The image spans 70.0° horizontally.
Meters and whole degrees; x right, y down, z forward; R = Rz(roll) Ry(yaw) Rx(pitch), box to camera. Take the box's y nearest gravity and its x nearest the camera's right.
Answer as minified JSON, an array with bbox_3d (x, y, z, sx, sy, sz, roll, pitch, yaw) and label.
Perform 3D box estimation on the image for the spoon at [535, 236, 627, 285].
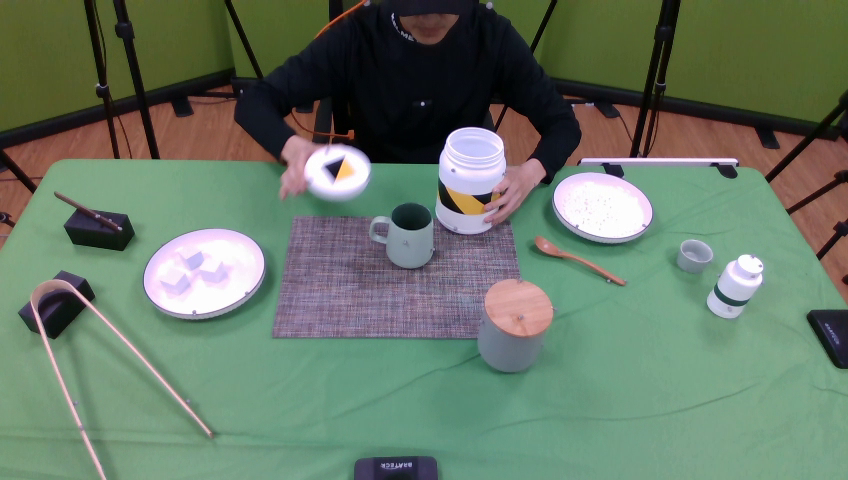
[{"bbox_3d":[0.304,0.040,1.178,0.193,0.022,0.041,25,34,19],"label":"spoon"}]

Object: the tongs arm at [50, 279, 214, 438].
[{"bbox_3d":[-0.459,0.178,0.949,0.386,0.028,0.028,38,60,17],"label":"tongs arm"}]

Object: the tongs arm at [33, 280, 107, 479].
[{"bbox_3d":[-0.517,0.214,0.909,0.051,0.026,0.383,-29,63,-27],"label":"tongs arm"}]

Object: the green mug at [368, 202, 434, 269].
[{"bbox_3d":[-0.043,-0.010,1.140,0.125,0.105,0.092,7,46,3],"label":"green mug"}]

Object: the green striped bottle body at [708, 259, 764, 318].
[{"bbox_3d":[0.563,0.081,1.089,0.063,0.120,0.063,2,46,-2],"label":"green striped bottle body"}]

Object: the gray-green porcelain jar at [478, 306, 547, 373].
[{"bbox_3d":[0.144,0.148,0.989,0.106,0.127,0.105,2,50,-2],"label":"gray-green porcelain jar"}]

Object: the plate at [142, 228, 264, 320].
[{"bbox_3d":[-0.394,0.064,1.095,0.208,0.039,0.206,2,46,-2],"label":"plate"}]

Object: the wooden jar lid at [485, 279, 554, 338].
[{"bbox_3d":[0.147,0.108,0.940,0.108,0.021,0.107,4,47,-4],"label":"wooden jar lid"}]

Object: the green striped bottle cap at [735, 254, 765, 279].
[{"bbox_3d":[0.566,0.046,1.051,0.044,0.020,0.044,1,45,0],"label":"green striped bottle cap"}]

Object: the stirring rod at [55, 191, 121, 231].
[{"bbox_3d":[-0.632,-0.055,1.138,0.175,0.014,0.006,24,50,19],"label":"stirring rod"}]

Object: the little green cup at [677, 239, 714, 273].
[{"bbox_3d":[0.530,0.033,1.189,0.061,0.039,0.061,2,47,-2],"label":"little green cup"}]

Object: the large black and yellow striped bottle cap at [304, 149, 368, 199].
[{"bbox_3d":[-0.158,-0.120,1.089,0.115,0.019,0.114,6,50,-7],"label":"large black and yellow striped bottle cap"}]

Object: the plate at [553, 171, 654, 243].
[{"bbox_3d":[0.373,-0.066,1.274,0.209,0.038,0.208,2,46,-2],"label":"plate"}]

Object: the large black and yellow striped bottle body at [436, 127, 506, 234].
[{"bbox_3d":[0.092,-0.118,1.199,0.131,0.185,0.130,2,42,-2],"label":"large black and yellow striped bottle body"}]
